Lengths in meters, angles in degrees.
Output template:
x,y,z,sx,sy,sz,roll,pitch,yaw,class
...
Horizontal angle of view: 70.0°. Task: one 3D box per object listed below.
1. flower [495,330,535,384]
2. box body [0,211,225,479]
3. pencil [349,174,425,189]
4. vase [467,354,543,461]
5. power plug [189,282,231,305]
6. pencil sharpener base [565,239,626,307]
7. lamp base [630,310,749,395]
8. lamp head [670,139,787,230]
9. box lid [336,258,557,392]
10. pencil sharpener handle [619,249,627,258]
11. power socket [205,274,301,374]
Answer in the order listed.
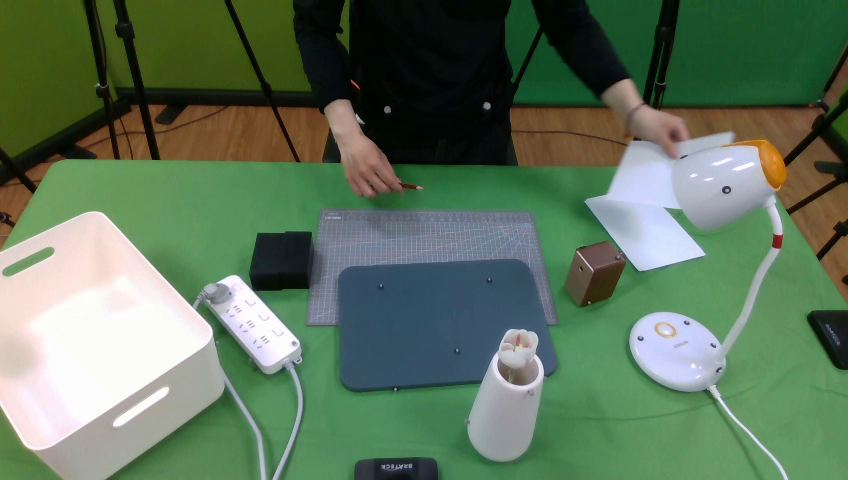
x,y,z,sx,sy,sz,roll,pitch,yaw,class
0.111,0.187,0.791,0.044,0.363,0.038,-32,65,-10,flower
-0.504,0.154,0.916,0.362,0.161,0.254,36,54,27,box body
-0.077,-0.118,1.225,0.193,0.012,0.012,13,44,34,pencil
0.116,0.234,0.861,0.098,0.201,0.097,1,47,-1,vase
-0.368,0.097,1.039,0.072,0.053,0.035,-26,55,-20,power plug
0.313,0.060,1.104,0.077,0.107,0.061,-15,49,-18,pencil sharpener base
0.447,0.142,0.984,0.161,0.181,0.178,-24,55,-24,lamp base
0.415,-0.079,0.812,0.113,0.123,0.112,12,70,-37,lamp head
0.030,0.140,1.073,0.372,0.015,0.261,-3,47,-7,box lid
0.359,0.036,1.113,0.031,0.068,0.036,-15,62,-18,pencil sharpener handle
-0.296,0.140,1.035,0.072,0.033,0.225,-32,57,-29,power socket
